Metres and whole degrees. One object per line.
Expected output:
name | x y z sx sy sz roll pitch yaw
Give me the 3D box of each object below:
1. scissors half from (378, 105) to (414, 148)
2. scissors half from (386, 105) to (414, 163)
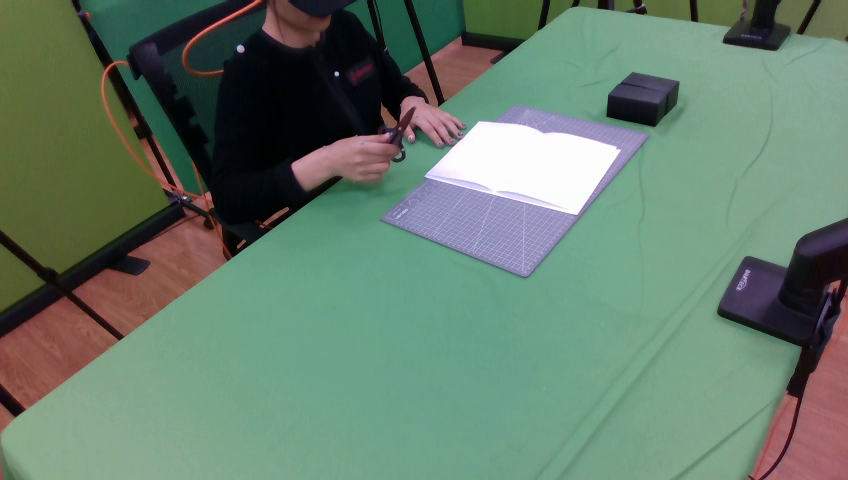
scissors half | -0.049 -0.198 1.039 0.013 0.040 0.174 -33 4 -24
scissors half | -0.038 -0.181 1.037 0.013 0.175 0.040 -27 76 -23
